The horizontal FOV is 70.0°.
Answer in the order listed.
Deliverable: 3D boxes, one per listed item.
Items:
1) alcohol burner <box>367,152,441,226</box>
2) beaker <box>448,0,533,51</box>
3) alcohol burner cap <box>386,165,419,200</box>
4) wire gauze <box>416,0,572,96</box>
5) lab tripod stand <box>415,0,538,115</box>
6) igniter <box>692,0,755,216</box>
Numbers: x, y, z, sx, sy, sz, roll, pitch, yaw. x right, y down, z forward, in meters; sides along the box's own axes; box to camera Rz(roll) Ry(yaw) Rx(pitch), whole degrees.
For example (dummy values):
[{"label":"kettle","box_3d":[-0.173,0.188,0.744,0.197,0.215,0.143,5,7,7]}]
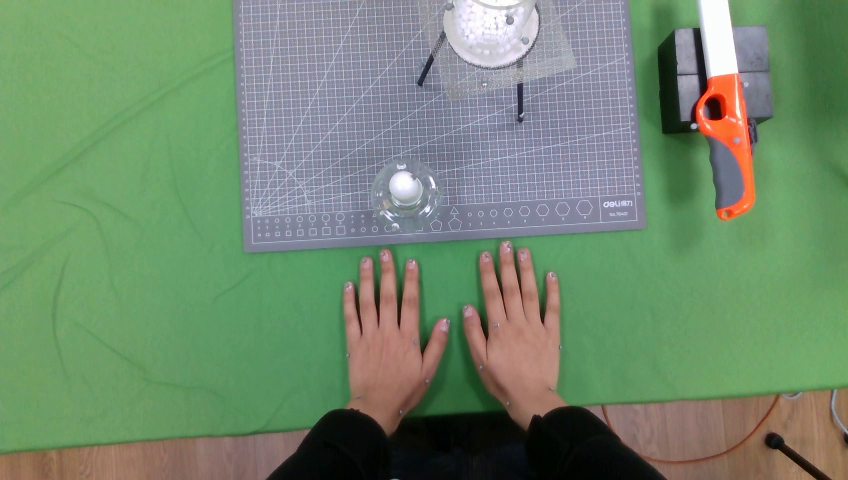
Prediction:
[{"label":"alcohol burner","box_3d":[-0.021,-0.054,0.622,0.078,0.119,0.078,0,88,-1]},{"label":"beaker","box_3d":[0.055,-0.209,0.508,0.084,0.100,0.074,-5,85,-1]},{"label":"alcohol burner cap","box_3d":[-0.023,-0.058,0.587,0.034,0.048,0.034,0,87,1]},{"label":"wire gauze","box_3d":[0.061,-0.202,0.556,0.125,0.011,0.121,-17,87,-4]},{"label":"lab tripod stand","box_3d":[0.061,-0.205,0.622,0.148,0.132,0.148,0,85,1]},{"label":"igniter","box_3d":[0.308,-0.163,0.632,0.057,0.025,0.276,-5,86,10]}]
